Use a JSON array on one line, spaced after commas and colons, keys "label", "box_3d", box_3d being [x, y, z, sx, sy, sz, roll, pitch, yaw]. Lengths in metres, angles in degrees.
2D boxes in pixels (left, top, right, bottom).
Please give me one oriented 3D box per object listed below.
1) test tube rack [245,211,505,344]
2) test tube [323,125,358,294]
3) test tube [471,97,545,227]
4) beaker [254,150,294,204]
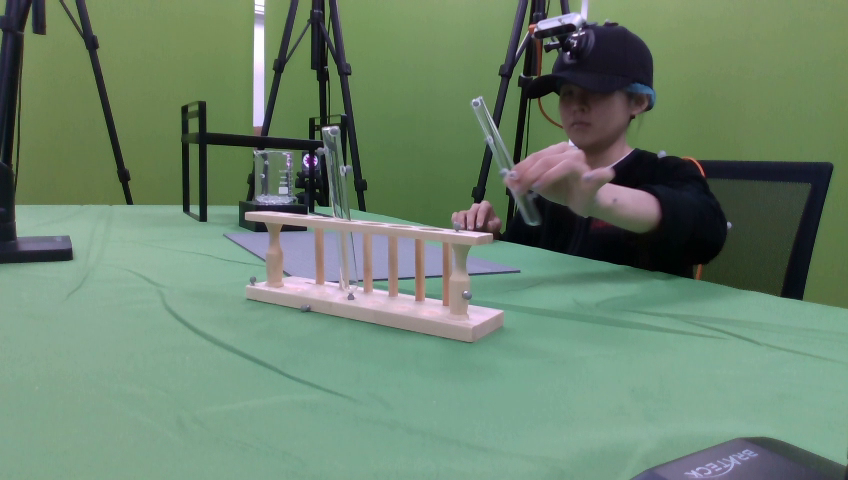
[{"label": "test tube rack", "box_3d": [-0.049, 0.024, 0.547, 0.241, 0.085, 0.067, 7, 8, 29]}, {"label": "test tube", "box_3d": [-0.073, -0.026, 0.533, 0.017, 0.150, 0.017, -5, 9, 1]}, {"label": "test tube", "box_3d": [0.088, -0.081, 0.633, 0.017, 0.150, 0.017, -27, 2, 2]}, {"label": "beaker", "box_3d": [-0.289, -0.120, 1.151, 0.073, 0.100, 0.084, 8, 9, 33]}]
